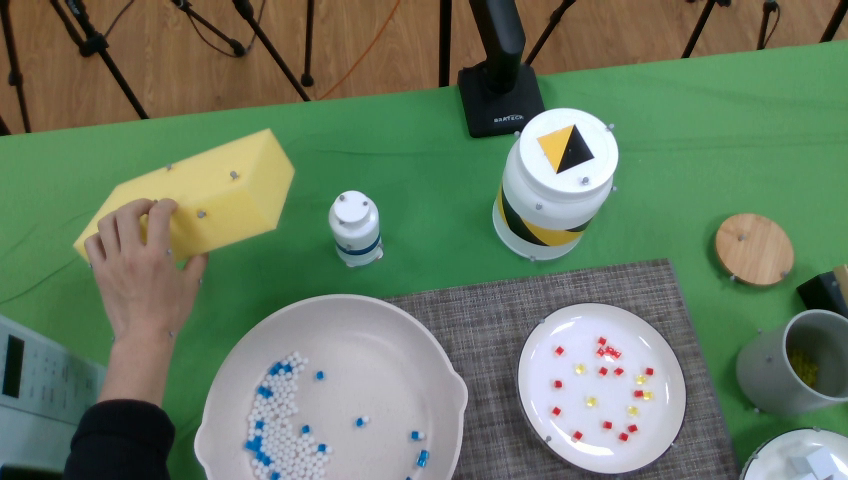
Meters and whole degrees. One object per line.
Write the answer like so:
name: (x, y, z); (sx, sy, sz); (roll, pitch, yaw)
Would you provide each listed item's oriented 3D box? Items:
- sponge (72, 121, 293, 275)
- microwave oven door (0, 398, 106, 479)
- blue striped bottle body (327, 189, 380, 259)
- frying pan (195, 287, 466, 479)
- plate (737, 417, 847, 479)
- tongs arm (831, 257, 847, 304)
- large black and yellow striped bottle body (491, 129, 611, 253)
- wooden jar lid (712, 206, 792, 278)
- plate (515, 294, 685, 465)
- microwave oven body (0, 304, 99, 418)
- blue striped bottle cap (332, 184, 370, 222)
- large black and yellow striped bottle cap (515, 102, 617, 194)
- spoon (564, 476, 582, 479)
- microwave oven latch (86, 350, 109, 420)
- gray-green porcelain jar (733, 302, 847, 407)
sponge: (-0.258, -0.046, 0.665); (0.206, 0.061, 0.117); (-17, 37, 12)
microwave oven door: (-0.358, 0.331, 0.538); (0.039, 0.245, 0.353); (-8, 68, -5)
blue striped bottle body: (-0.090, -0.026, 0.781); (0.063, 0.121, 0.062); (1, 67, -2)
frying pan: (-0.084, 0.289, 0.658); (0.307, 0.103, 0.483); (-10, 60, -3)
plate: (0.464, 0.315, 0.707); (0.208, 0.039, 0.206); (1, 67, -1)
tongs arm: (0.588, 0.200, 0.730); (0.051, 0.026, 0.383); (-12, 79, -9)
large black and yellow striped bottle body: (0.161, -0.074, 0.778); (0.131, 0.185, 0.130); (1, 67, -1)
wooden jar lid: (0.454, 0.004, 0.845); (0.108, 0.021, 0.107); (1, 69, -2)
plate: (0.214, 0.170, 0.753); (0.209, 0.038, 0.207); (1, 68, -1)
microwave oven body: (-0.508, 0.313, 0.545); (0.326, 0.262, 0.438); (-7, 68, -6)
blue striped bottle cap: (-0.089, -0.045, 0.733); (0.044, 0.021, 0.044); (0, 65, 0)
large black and yellow striped bottle cap: (0.163, -0.108, 0.698); (0.115, 0.019, 0.114); (1, 66, -1)
spoon: (0.239, 0.337, 0.696); (0.193, 0.022, 0.041); (32, 56, 9)
microwave oven latch: (-0.391, 0.171, 0.713); (0.030, 0.030, 0.078); (-5, 68, -5)
gray-green porcelain jar: (0.446, 0.142, 0.730); (0.106, 0.127, 0.105); (1, 67, -2)
